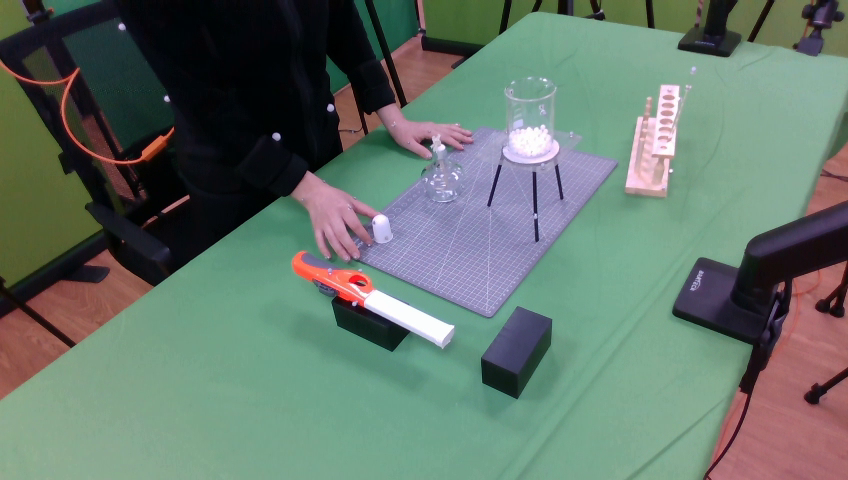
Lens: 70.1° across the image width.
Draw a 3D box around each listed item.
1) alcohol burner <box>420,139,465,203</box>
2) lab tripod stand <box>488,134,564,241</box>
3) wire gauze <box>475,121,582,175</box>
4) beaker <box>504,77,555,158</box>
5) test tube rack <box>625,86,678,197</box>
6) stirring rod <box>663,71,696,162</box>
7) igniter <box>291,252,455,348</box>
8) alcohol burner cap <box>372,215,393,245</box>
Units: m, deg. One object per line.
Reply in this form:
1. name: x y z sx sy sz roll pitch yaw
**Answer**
1. alcohol burner: 0.030 -0.124 1.044 0.078 0.119 0.077 -5 42 5
2. lab tripod stand: 0.168 -0.092 0.972 0.148 0.132 0.147 -5 41 5
3. wire gauze: 0.161 -0.142 0.929 0.120 0.011 0.125 19 49 32
4. beaker: 0.160 -0.181 0.900 0.084 0.101 0.073 -33 46 -27
5. test tube rack: 0.412 -0.184 1.088 0.066 0.085 0.242 9 43 18
6. stirring rod: 0.410 -0.195 0.981 0.014 0.177 0.006 12 50 14
7. igniter: -0.080 0.076 0.822 0.274 0.025 0.057 23 45 27
8. alcohol burner cap: -0.070 -0.019 0.990 0.034 0.048 0.033 -4 40 4
